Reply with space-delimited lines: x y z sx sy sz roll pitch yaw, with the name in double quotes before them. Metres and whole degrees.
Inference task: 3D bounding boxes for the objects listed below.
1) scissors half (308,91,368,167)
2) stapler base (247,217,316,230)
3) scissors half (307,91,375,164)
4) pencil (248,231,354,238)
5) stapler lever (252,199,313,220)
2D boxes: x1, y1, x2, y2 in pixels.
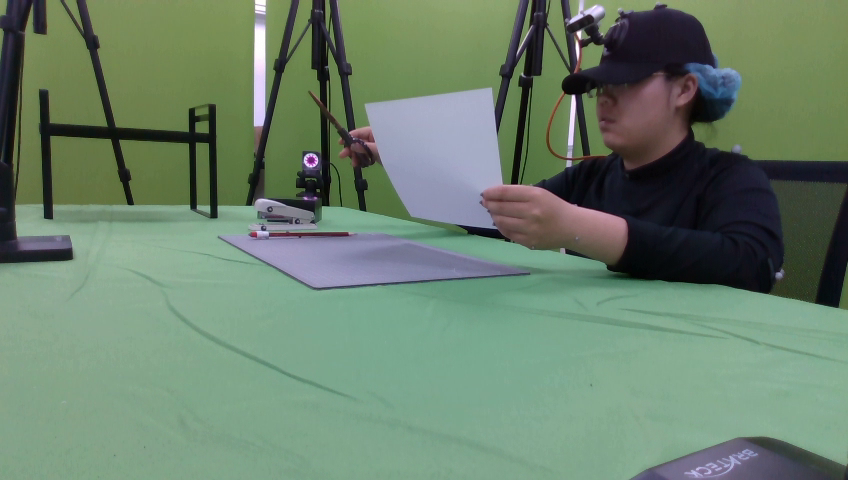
"scissors half" -0.164 -0.206 1.133 0.040 0.176 0.013 -2 42 50
"stapler base" -0.276 -0.033 1.172 0.131 0.024 0.041 0 10 -37
"scissors half" -0.154 -0.208 1.116 0.013 0.175 0.040 -50 13 -23
"pencil" -0.206 -0.009 1.039 0.195 0.012 0.012 0 8 -36
"stapler lever" -0.273 -0.058 1.170 0.119 0.040 0.026 0 10 -37
